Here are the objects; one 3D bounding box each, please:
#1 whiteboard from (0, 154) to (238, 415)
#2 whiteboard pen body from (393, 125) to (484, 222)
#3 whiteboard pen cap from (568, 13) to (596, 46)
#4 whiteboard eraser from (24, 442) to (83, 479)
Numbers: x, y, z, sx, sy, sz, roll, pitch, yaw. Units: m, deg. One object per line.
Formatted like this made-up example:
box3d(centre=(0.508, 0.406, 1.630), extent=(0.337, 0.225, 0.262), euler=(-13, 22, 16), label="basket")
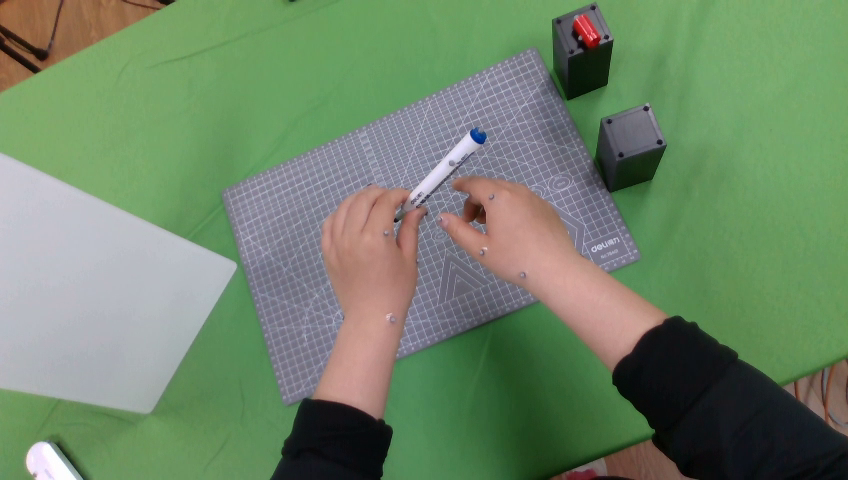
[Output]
box3d(centre=(-0.412, 0.047, 0.687), extent=(0.142, 0.308, 0.217), euler=(25, 83, 37), label="whiteboard")
box3d(centre=(0.007, -0.054, 0.539), extent=(0.141, 0.017, 0.016), euler=(-43, 65, 43), label="whiteboard pen body")
box3d(centre=(0.167, -0.222, 0.637), extent=(0.017, 0.017, 0.032), euler=(-29, 74, 4), label="whiteboard pen cap")
box3d(centre=(-0.460, 0.294, 0.753), extent=(0.100, 0.019, 0.041), euler=(39, 86, 17), label="whiteboard eraser")
